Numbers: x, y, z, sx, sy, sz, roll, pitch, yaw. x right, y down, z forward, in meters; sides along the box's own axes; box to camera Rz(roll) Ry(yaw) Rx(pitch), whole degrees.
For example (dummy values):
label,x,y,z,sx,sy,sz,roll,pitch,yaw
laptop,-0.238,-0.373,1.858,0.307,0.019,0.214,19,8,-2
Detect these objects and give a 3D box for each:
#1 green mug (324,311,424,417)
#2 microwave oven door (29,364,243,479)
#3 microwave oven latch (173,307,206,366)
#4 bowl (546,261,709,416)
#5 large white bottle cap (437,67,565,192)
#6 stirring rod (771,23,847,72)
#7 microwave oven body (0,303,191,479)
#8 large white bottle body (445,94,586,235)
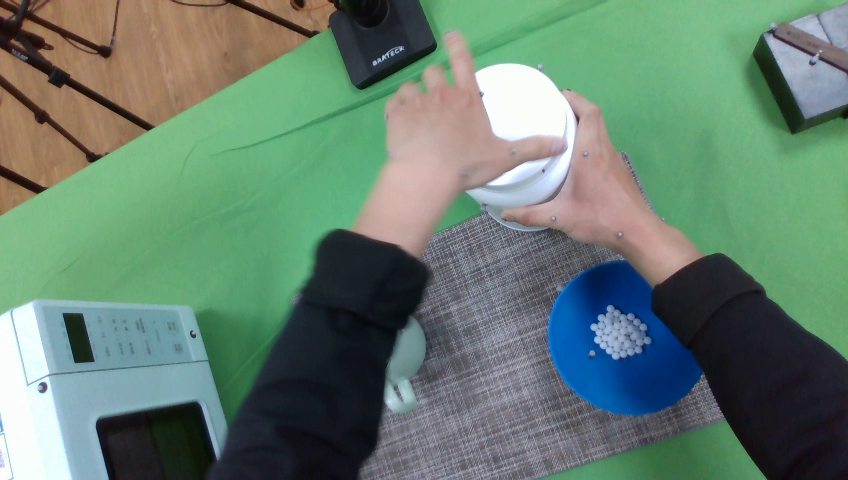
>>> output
label,x,y,z,sx,sy,sz,roll,pitch,yaw
green mug,-0.047,0.140,0.684,0.092,0.105,0.124,-32,75,11
microwave oven door,-0.268,0.312,0.646,0.039,0.245,0.354,-26,76,13
microwave oven latch,-0.314,0.127,0.790,0.030,0.029,0.078,-25,77,13
bowl,0.206,0.099,0.623,0.151,0.077,0.151,-2,83,18
large white bottle cap,0.068,-0.100,0.546,0.114,0.018,0.114,-4,79,18
stirring rod,0.414,-0.162,0.574,0.175,0.006,0.014,36,129,18
microwave oven body,-0.410,0.335,0.694,0.326,0.261,0.439,-25,77,13
large white bottle body,0.096,-0.084,0.625,0.130,0.186,0.130,-3,79,18
